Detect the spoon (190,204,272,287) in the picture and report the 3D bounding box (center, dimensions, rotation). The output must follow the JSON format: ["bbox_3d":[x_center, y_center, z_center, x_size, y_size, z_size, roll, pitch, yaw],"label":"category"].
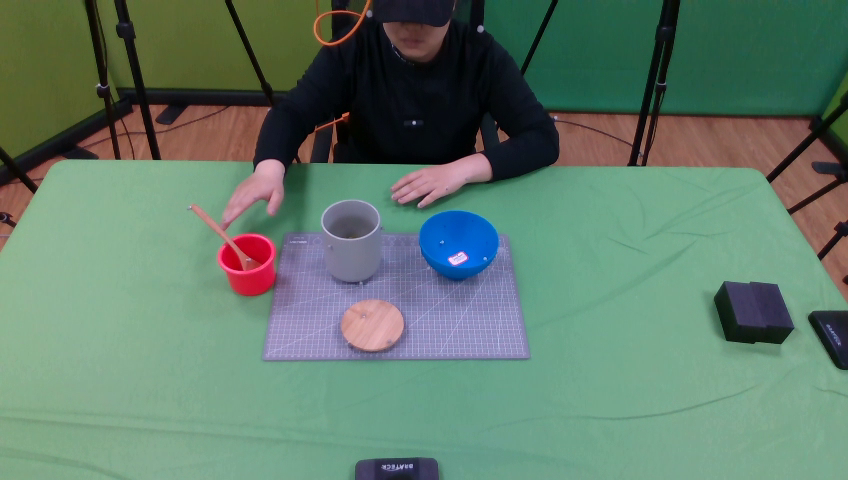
[{"bbox_3d":[-0.344,0.008,1.080,0.194,0.021,0.041,53,53,-16],"label":"spoon"}]

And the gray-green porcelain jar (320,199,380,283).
[{"bbox_3d":[-0.132,0.007,1.106,0.106,0.127,0.105,2,46,-2],"label":"gray-green porcelain jar"}]

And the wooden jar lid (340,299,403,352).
[{"bbox_3d":[-0.090,0.150,1.046,0.108,0.021,0.107,3,47,-3],"label":"wooden jar lid"}]

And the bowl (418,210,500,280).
[{"bbox_3d":[0.062,0.022,1.140,0.151,0.077,0.150,2,46,-2],"label":"bowl"}]
